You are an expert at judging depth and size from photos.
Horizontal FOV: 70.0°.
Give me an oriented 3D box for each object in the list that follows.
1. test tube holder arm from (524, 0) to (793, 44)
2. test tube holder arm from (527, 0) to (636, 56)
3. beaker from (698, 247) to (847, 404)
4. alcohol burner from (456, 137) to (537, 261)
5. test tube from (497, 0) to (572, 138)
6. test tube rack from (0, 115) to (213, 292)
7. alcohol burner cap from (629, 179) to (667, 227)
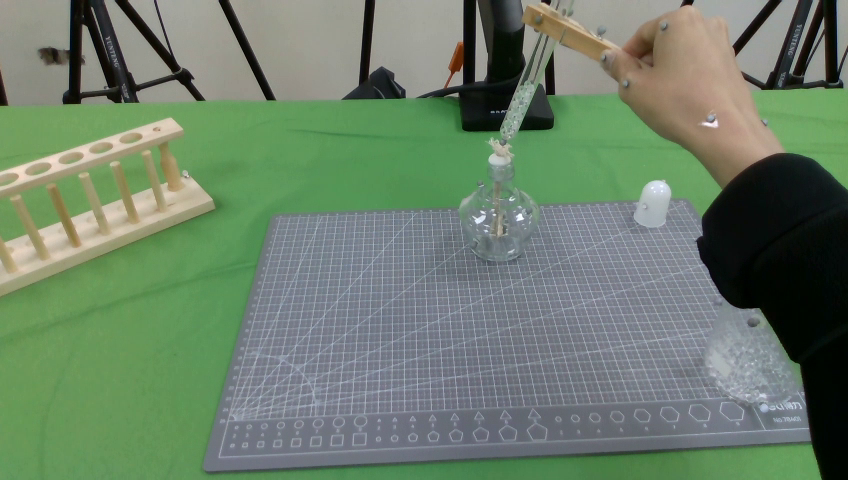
[{"bbox_3d":[0.160,-0.157,0.432,0.177,0.013,0.015,-1,43,25],"label":"test tube holder arm"},{"bbox_3d":[0.119,-0.159,0.448,0.088,0.010,0.015,23,51,-1],"label":"test tube holder arm"},{"bbox_3d":[0.248,0.065,0.447,0.074,0.101,0.083,-21,43,-23],"label":"beaker"},{"bbox_3d":[0.068,-0.041,0.567,0.078,0.120,0.077,-2,38,2],"label":"alcohol burner"},{"bbox_3d":[0.088,-0.143,0.471,0.017,0.151,0.017,11,42,-10],"label":"test tube"},{"bbox_3d":[-0.344,-0.036,0.593,0.242,0.086,0.066,-27,47,-29],"label":"test tube rack"},{"bbox_3d":[0.231,-0.040,0.620,0.034,0.048,0.033,0,39,1],"label":"alcohol burner cap"}]
